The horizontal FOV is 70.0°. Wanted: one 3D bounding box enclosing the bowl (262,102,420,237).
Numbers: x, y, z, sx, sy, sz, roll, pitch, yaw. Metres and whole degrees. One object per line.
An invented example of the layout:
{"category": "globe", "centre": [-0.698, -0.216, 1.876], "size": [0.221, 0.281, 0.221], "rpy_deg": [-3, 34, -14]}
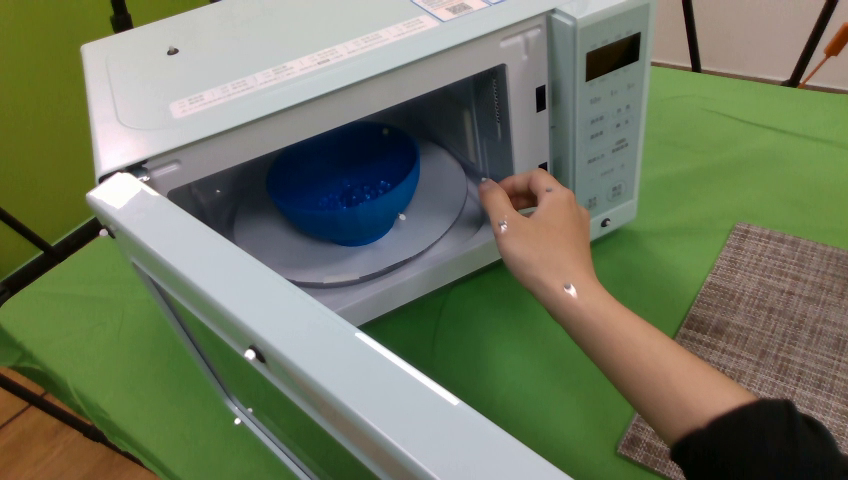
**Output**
{"category": "bowl", "centre": [-0.072, -0.055, 0.593], "size": [0.151, 0.077, 0.150], "rpy_deg": [-5, 54, 7]}

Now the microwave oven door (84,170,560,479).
{"category": "microwave oven door", "centre": [-0.060, 0.110, 0.363], "size": [0.352, 0.246, 0.039], "rpy_deg": [27, 54, 35]}

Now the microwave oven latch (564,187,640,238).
{"category": "microwave oven latch", "centre": [0.182, -0.032, 0.620], "size": [0.079, 0.030, 0.030], "rpy_deg": [-24, 43, -12]}

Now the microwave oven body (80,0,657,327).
{"category": "microwave oven body", "centre": [-0.056, -0.112, 0.617], "size": [0.442, 0.263, 0.322], "rpy_deg": [-25, 44, -13]}
